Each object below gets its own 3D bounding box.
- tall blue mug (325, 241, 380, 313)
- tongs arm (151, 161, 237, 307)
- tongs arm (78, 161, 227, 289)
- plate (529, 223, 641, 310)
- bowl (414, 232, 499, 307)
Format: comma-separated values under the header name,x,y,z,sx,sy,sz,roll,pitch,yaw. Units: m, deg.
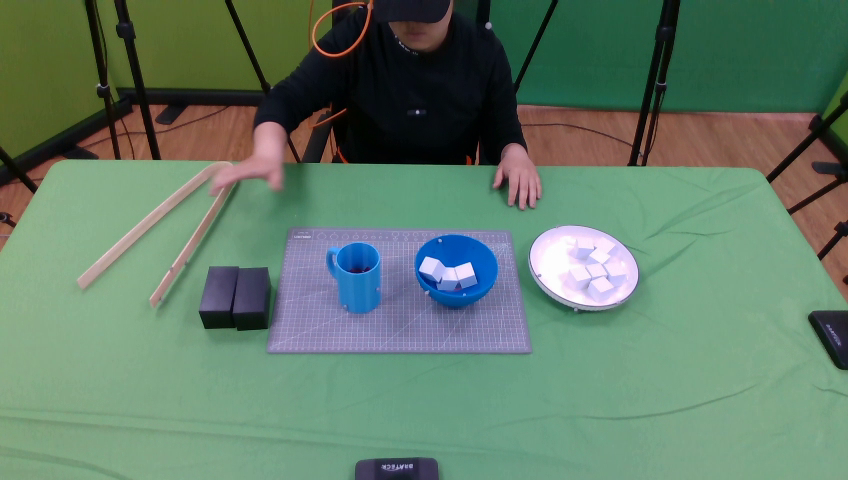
name,x,y,z,sx,sy,sz,roll,pitch,yaw
tall blue mug,-0.130,0.063,1.062,0.107,0.108,0.077,9,47,5
tongs arm,-0.447,-0.026,1.180,0.051,0.027,0.383,8,46,10
tongs arm,-0.524,-0.043,1.196,0.028,0.028,0.386,15,47,22
plate,0.303,0.053,1.156,0.209,0.038,0.208,2,46,-1
bowl,0.056,0.067,1.093,0.151,0.077,0.150,2,46,-2
